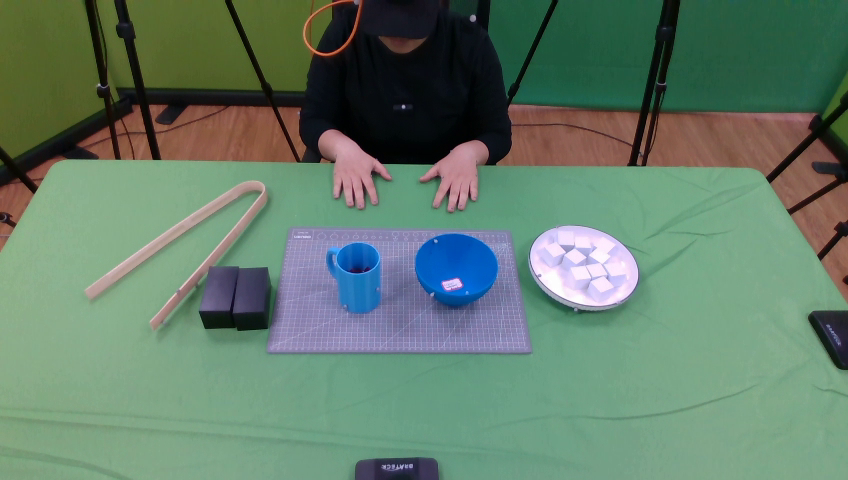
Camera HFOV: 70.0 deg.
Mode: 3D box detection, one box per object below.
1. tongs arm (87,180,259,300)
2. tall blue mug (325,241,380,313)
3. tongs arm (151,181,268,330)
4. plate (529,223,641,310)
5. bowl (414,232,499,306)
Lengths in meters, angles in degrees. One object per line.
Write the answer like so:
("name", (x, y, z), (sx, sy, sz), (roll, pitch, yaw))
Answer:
("tongs arm", (-0.473, -0.011, 1.172), (0.028, 0.028, 0.387), (22, 49, 29))
("tall blue mug", (-0.130, 0.063, 1.063), (0.107, 0.108, 0.077), (9, 47, 5))
("tongs arm", (-0.400, 0.014, 1.145), (0.050, 0.027, 0.383), (14, 46, 18))
("plate", (0.303, 0.053, 1.156), (0.209, 0.038, 0.208), (2, 46, -2))
("bowl", (0.056, 0.066, 1.095), (0.151, 0.077, 0.150), (2, 46, -2))
